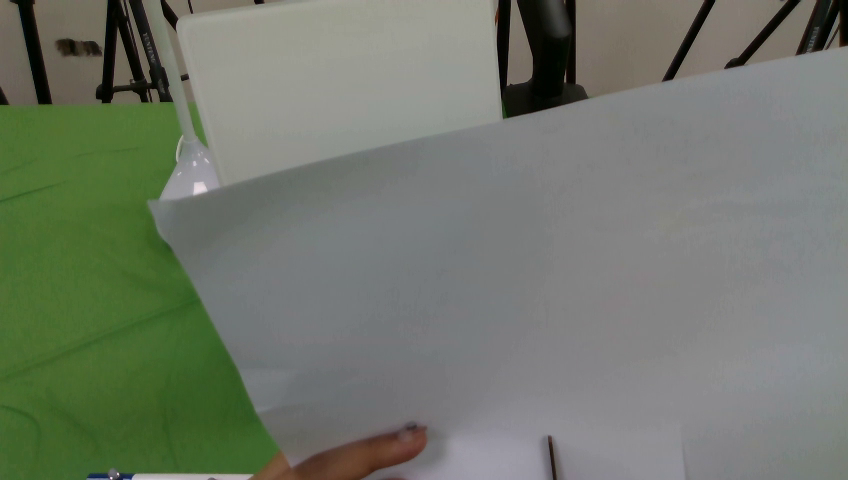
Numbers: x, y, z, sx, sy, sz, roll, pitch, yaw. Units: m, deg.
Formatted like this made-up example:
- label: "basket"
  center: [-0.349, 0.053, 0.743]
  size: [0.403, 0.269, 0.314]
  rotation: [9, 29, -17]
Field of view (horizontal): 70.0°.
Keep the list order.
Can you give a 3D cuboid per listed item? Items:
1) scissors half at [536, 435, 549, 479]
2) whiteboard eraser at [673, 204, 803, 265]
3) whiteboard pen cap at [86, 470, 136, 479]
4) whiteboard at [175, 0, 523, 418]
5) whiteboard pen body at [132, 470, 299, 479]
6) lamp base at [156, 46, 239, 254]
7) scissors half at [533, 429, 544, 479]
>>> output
- label: "scissors half"
  center: [0.068, 0.169, 0.292]
  size: [0.013, 0.176, 0.040]
  rotation: [-11, 18, 3]
- label: "whiteboard eraser"
  center: [0.320, -0.004, 0.621]
  size: [0.113, 0.042, 0.055]
  rotation: [-7, 42, -7]
- label: "whiteboard pen cap"
  center: [-0.219, 0.172, 0.430]
  size: [0.033, 0.018, 0.018]
  rotation: [-1, 40, -3]
- label: "whiteboard"
  center: [-0.054, -0.045, 0.517]
  size: [0.218, 0.307, 0.142]
  rotation: [-15, 23, -15]
- label: "whiteboard pen body"
  center: [-0.160, 0.172, 0.432]
  size: [0.141, 0.017, 0.017]
  rotation: [1, 40, -2]
- label: "lamp base"
  center: [-0.227, -0.102, 0.638]
  size: [0.177, 0.182, 0.160]
  rotation: [27, 48, 32]
- label: "scissors half"
  center: [0.066, 0.171, 0.271]
  size: [0.013, 0.175, 0.040]
  rotation: [-11, -3, 8]
